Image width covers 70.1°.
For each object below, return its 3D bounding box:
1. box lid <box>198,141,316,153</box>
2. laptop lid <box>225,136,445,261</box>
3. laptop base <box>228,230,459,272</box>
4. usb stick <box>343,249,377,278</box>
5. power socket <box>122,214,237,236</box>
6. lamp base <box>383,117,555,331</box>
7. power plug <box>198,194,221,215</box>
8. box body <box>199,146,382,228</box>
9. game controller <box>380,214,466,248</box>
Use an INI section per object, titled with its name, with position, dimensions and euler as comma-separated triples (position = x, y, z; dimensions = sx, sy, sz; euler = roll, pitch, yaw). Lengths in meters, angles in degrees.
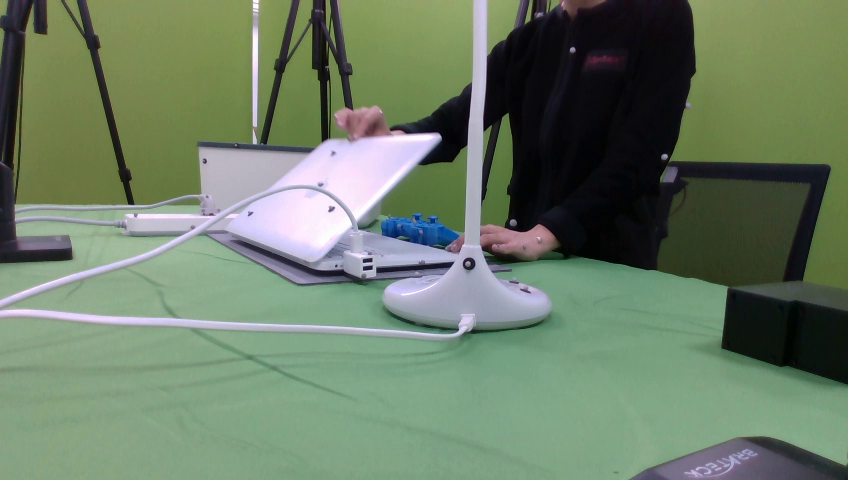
[box lid]
position = -0.275, -0.196, 1.326
dimensions = 0.372, 0.015, 0.263
euler = 4, 7, 1
[laptop lid]
position = -0.145, -0.075, 0.859
dimensions = 0.242, 0.013, 0.355
euler = -44, 29, -19
[laptop base]
position = -0.122, 0.012, 0.889
dimensions = 0.237, 0.023, 0.352
euler = 2, 6, -35
[usb stick]
position = -0.076, 0.026, 0.687
dimensions = 0.021, 0.027, 0.059
euler = -8, 9, -31
[power socket]
position = -0.399, -0.028, 1.049
dimensions = 0.228, 0.032, 0.072
euler = -3, 8, -34
[lamp base]
position = 0.045, -0.019, 0.547
dimensions = 0.161, 0.180, 0.179
euler = 2, 10, -4
[power plug]
position = -0.387, -0.055, 1.089
dimensions = 0.035, 0.052, 0.072
euler = -1, 7, -22
[box body]
position = -0.276, -0.124, 1.334
dimensions = 0.364, 0.160, 0.254
euler = 3, 7, 1
[game controller]
position = -0.006, -0.017, 1.039
dimensions = 0.097, 0.051, 0.154
euler = -5, 10, -34
